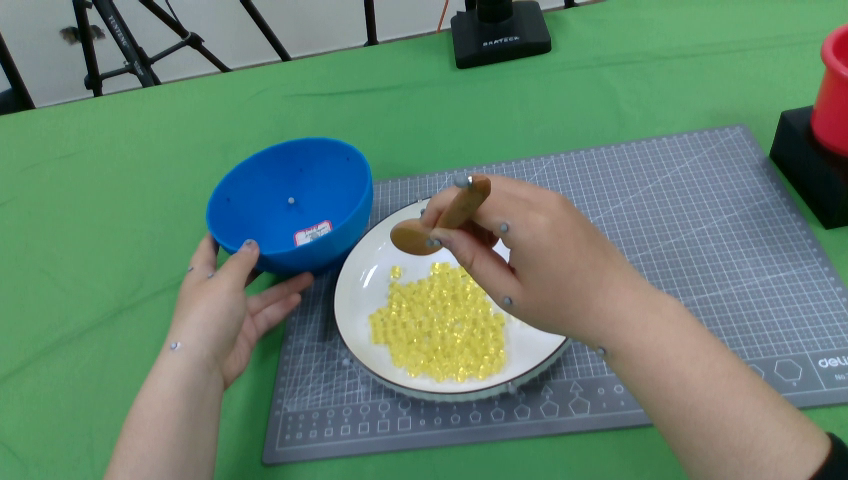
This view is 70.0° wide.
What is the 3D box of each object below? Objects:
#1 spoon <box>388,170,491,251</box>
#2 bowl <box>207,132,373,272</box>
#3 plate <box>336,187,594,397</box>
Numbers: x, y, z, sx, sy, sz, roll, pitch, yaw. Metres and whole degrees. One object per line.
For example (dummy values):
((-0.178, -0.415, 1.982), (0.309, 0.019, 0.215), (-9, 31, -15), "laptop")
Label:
((0.009, -0.012, 0.364), (0.042, 0.193, 0.021), (16, 82, -9), "spoon")
((-0.113, -0.023, 0.563), (0.151, 0.077, 0.150), (-7, 47, 8), "bowl")
((0.032, 0.039, 0.500), (0.207, 0.039, 0.205), (-7, 47, 8), "plate")
